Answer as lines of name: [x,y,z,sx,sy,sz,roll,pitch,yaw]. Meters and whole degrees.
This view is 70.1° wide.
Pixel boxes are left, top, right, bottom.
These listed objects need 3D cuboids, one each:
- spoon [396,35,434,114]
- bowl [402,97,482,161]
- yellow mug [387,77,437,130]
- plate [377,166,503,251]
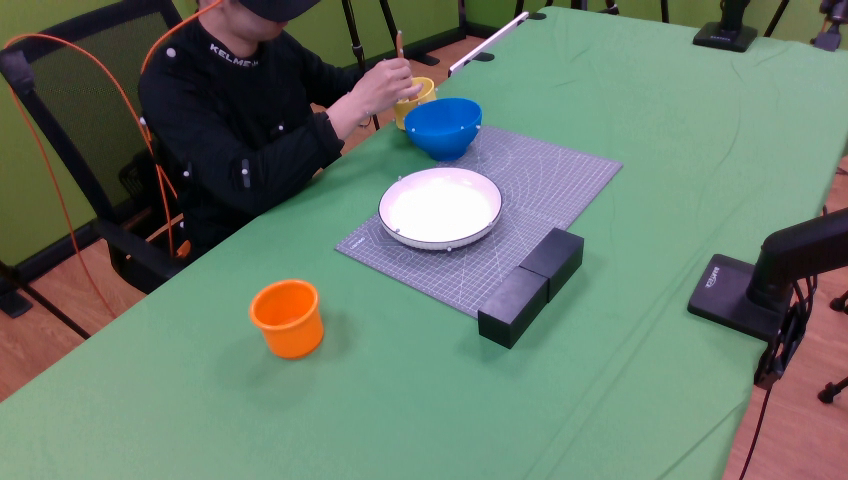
spoon: [-0.015,-0.304,1.165,0.042,0.195,0.021,-37,34,-11]
bowl: [0.040,-0.203,1.154,0.151,0.077,0.150,-7,38,6]
yellow mug: [-0.026,-0.288,1.251,0.100,0.064,0.129,-29,40,-10]
plate: [0.027,-0.050,1.007,0.209,0.038,0.208,-4,41,4]
